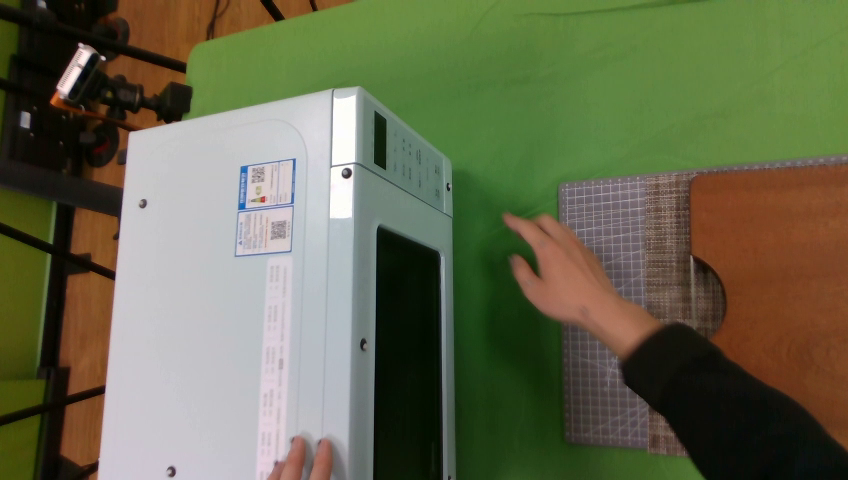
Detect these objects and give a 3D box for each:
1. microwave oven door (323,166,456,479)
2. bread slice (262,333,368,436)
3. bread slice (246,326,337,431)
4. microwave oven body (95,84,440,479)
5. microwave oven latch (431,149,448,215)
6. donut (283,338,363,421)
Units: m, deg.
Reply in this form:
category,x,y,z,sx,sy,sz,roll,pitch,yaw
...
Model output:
category,x,y,z,sx,sy,sz,roll,pitch,yaw
microwave oven door,-0.029,0.125,0.628,0.039,0.245,0.354,-6,78,24
bread slice,-0.139,0.171,0.741,0.131,0.019,0.105,12,90,19
bread slice,-0.148,0.158,0.666,0.134,0.018,0.106,-18,75,35
microwave oven body,-0.161,0.099,0.698,0.325,0.262,0.440,-5,79,23
microwave oven latch,0.013,-0.071,0.758,0.030,0.030,0.079,-7,79,23
donut,-0.118,0.161,0.704,0.099,0.048,0.099,1,97,13
